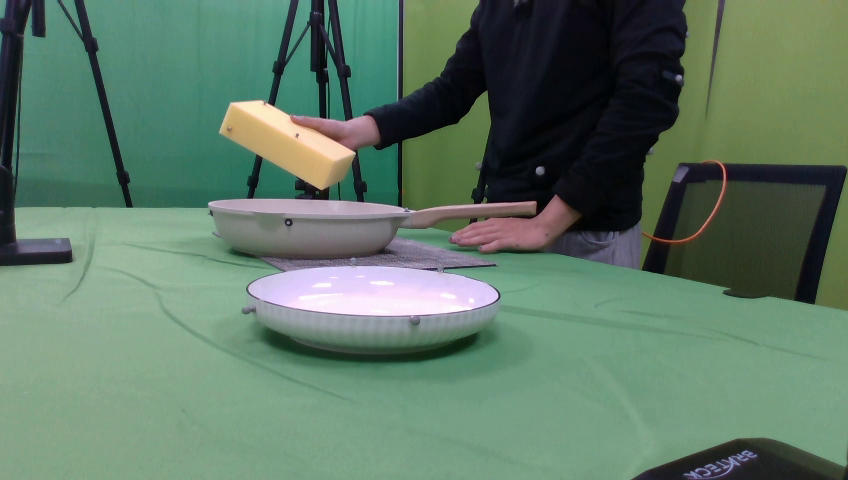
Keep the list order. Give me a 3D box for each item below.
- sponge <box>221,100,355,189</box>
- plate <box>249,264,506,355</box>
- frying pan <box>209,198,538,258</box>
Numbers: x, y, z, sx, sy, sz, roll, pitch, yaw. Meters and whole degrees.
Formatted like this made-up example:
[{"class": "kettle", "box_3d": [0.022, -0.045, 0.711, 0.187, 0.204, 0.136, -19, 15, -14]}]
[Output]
[{"class": "sponge", "box_3d": [-0.242, -0.177, 1.098, 0.207, 0.061, 0.118, 29, 19, 1]}, {"class": "plate", "box_3d": [-0.037, 0.056, 0.504, 0.208, 0.039, 0.207, 2, 7, 0]}, {"class": "frying pan", "box_3d": [-0.075, -0.033, 0.912, 0.487, 0.102, 0.307, -5, 7, 12]}]
